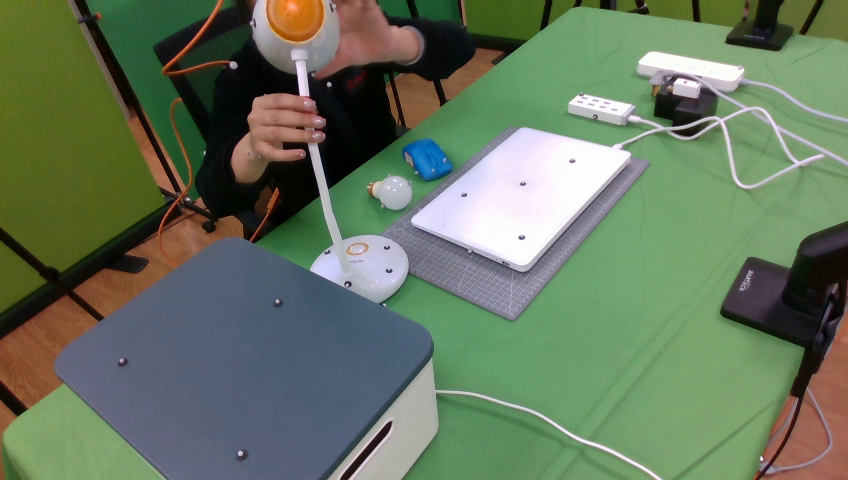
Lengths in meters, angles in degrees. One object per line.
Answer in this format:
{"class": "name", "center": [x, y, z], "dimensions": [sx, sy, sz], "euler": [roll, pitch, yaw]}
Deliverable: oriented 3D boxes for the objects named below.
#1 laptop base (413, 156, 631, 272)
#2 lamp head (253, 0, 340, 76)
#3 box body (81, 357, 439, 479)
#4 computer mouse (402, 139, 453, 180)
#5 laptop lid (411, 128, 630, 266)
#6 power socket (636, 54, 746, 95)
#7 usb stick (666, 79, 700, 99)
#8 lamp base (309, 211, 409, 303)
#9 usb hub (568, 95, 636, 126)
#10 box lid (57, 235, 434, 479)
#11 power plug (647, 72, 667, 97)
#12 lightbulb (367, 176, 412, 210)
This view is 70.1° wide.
{"class": "laptop base", "center": [0.176, -0.083, 1.055], "dimensions": [0.233, 0.023, 0.355], "euler": [21, 48, 36]}
{"class": "lamp head", "center": [-0.155, -0.260, 0.739], "dimensions": [0.113, 0.112, 0.122], "euler": [-16, 15, -7]}
{"class": "box body", "center": [-0.189, 0.178, 0.702], "dimensions": [0.361, 0.161, 0.255], "euler": [22, 49, 32]}
{"class": "computer mouse", "center": [0.005, -0.159, 1.165], "dimensions": [0.063, 0.041, 0.116], "euler": [-21, 45, -17]}
{"class": "laptop lid", "center": [0.172, -0.093, 1.049], "dimensions": [0.239, 0.013, 0.358], "euler": [24, 50, 36]}
{"class": "power socket", "center": [0.564, -0.357, 1.293], "dimensions": [0.225, 0.033, 0.072], "euler": [24, 51, 33]}
{"class": "usb stick", "center": [0.492, -0.288, 1.152], "dimensions": [0.058, 0.027, 0.021], "euler": [20, 50, 34]}
{"class": "lamp base", "center": [-0.111, -0.002, 0.886], "dimensions": [0.161, 0.181, 0.178], "euler": [-12, 43, -1]}
{"class": "usb hub", "center": [0.360, -0.264, 1.228], "dimensions": [0.124, 0.025, 0.049], "euler": [24, 49, 33]}
{"class": "box lid", "center": [-0.198, 0.123, 0.653], "dimensions": [0.368, 0.015, 0.264], "euler": [22, 49, 32]}
{"class": "power plug", "center": [0.493, -0.321, 1.260], "dimensions": [0.073, 0.052, 0.035], "euler": [1, 20, -41]}
{"class": "lightbulb", "center": [-0.066, -0.086, 1.084], "dimensions": [0.060, 0.060, 0.107], "euler": [-38, 32, -30]}
